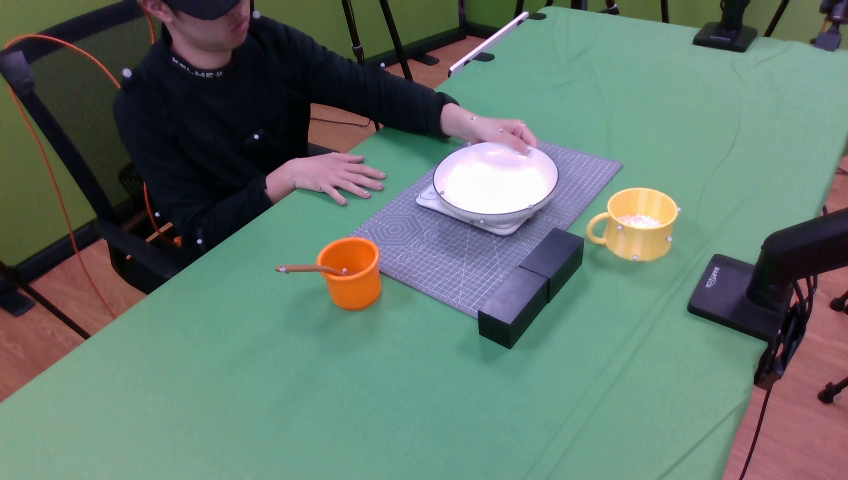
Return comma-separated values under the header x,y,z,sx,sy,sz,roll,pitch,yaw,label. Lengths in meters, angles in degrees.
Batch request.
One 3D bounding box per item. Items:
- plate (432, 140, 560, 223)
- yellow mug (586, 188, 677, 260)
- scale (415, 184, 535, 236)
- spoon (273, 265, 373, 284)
x,y,z,sx,sy,sz,roll,pitch,yaw,label
0.118,-0.094,0.999,0.209,0.038,0.208,-5,41,4,plate
0.311,-0.022,0.916,0.131,0.064,0.099,-8,40,0,yellow mug
0.099,-0.079,1.035,0.199,0.032,0.149,23,48,31,scale
-0.136,0.045,0.839,0.041,0.195,0.021,18,91,33,spoon
